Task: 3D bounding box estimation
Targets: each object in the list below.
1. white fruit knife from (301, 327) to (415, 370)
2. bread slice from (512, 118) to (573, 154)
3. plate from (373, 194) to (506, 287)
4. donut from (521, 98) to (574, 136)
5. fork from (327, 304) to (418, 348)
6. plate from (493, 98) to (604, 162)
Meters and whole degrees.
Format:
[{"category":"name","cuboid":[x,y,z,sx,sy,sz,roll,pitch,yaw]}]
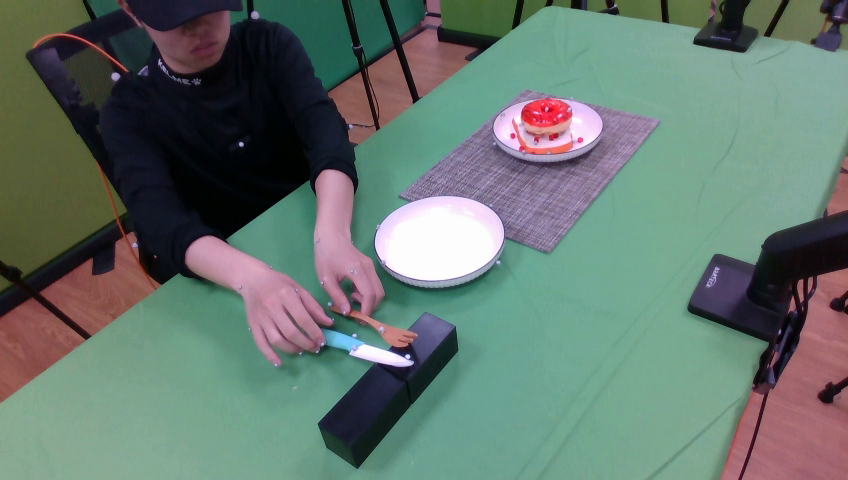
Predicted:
[{"category":"white fruit knife","cuboid":[-0.088,0.140,0.781,0.205,0.016,0.027,8,42,42]},{"category":"bread slice","cuboid":[0.232,-0.204,1.160,0.105,0.019,0.131,-8,39,1]},{"category":"plate","cuboid":[0.025,0.003,0.952,0.207,0.039,0.206,-4,41,4]},{"category":"donut","cuboid":[0.232,-0.232,1.135,0.099,0.048,0.098,-4,41,4]},{"category":"fork","cuboid":[-0.076,0.111,0.809,0.028,0.019,0.205,-43,34,-25]},{"category":"plate","cuboid":[0.237,-0.206,1.158,0.209,0.038,0.208,-4,40,4]}]
